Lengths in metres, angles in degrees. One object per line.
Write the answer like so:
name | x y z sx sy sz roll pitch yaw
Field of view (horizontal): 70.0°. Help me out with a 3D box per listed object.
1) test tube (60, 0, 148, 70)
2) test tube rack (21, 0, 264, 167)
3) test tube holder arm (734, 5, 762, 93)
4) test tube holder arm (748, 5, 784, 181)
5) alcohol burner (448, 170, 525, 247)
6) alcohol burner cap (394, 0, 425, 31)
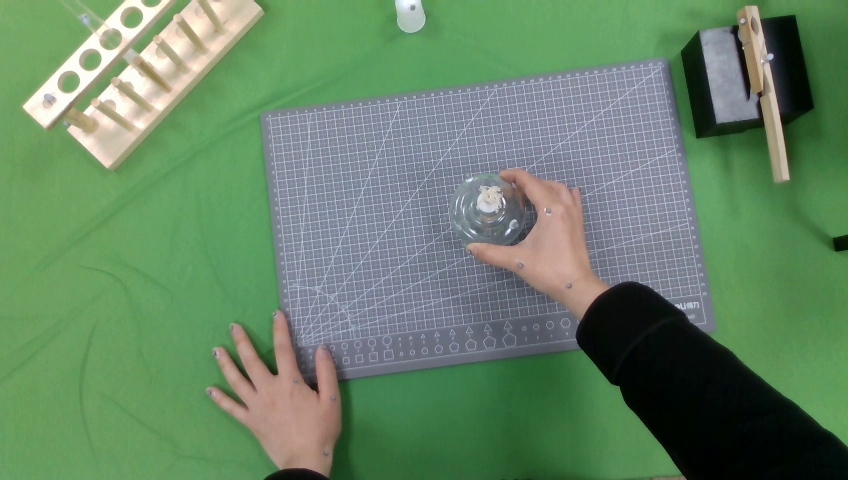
test tube | -0.311 -0.205 0.586 0.017 0.151 0.017 -1 78 4
test tube rack | -0.286 -0.195 0.634 0.066 0.085 0.242 42 86 6
test tube holder arm | 0.325 -0.191 0.605 0.010 0.015 0.087 -6 84 -14
test tube holder arm | 0.336 -0.147 0.602 0.013 0.015 0.178 -6 84 -14
alcohol burner | 0.060 -0.034 0.588 0.078 0.119 0.077 -1 82 5
alcohol burner cap | -0.017 -0.254 0.656 0.034 0.048 0.033 -1 79 5
